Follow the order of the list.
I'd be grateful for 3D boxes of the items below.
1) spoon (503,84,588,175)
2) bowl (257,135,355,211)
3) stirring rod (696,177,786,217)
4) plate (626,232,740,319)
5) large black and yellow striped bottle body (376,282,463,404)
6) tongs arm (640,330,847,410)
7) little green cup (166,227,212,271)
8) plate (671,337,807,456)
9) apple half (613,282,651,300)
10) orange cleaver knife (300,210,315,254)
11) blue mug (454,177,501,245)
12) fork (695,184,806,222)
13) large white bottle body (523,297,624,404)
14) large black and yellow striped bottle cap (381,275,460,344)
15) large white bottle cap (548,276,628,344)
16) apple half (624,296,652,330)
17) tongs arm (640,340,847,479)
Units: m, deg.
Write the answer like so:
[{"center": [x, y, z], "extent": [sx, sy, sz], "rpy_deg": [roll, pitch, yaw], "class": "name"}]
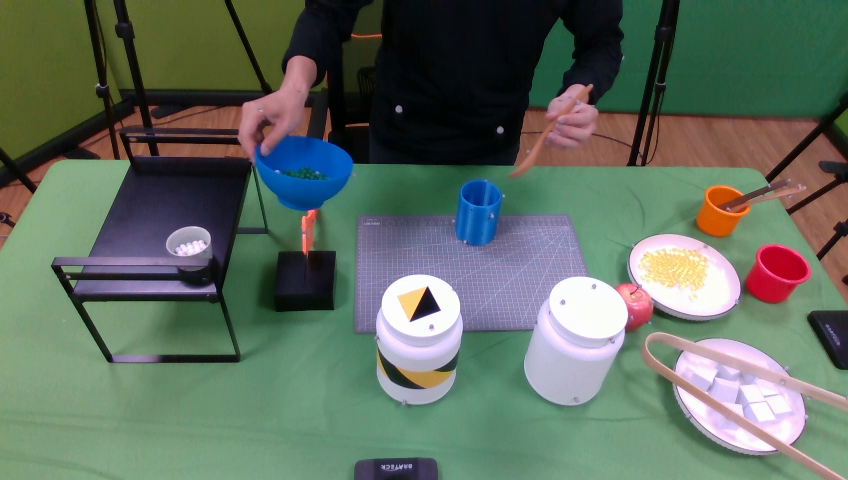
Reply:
[{"center": [0.190, -0.170, 0.956], "extent": [0.021, 0.194, 0.041], "rpy_deg": [46, 32, 16], "class": "spoon"}, {"center": [-0.190, -0.098, 0.960], "extent": [0.151, 0.077, 0.150], "rpy_deg": [10, 33, -7], "class": "bowl"}, {"center": [0.648, -0.087, 1.244], "extent": [0.176, 0.006, 0.014], "rpy_deg": [-25, 50, 29], "class": "stirring rod"}, {"center": [0.488, 0.071, 1.157], "extent": [0.209, 0.038, 0.208], "rpy_deg": [3, 46, -3], "class": "plate"}, {"center": [-0.010, 0.155, 0.937], "extent": [0.131, 0.185, 0.130], "rpy_deg": [2, 47, -2], "class": "large black and yellow striped bottle body"}, {"center": [0.543, 0.225, 0.969], "extent": [0.384, 0.026, 0.050], "rpy_deg": [22, 52, 13], "class": "tongs arm"}, {"center": [-0.344, 0.014, 0.895], "extent": [0.061, 0.039, 0.061], "rpy_deg": [3, 46, -3], "class": "little green cup"}, {"center": [0.504, 0.254, 0.984], "extent": [0.208, 0.039, 0.206], "rpy_deg": [2, 46, -2], "class": "plate"}, {"center": [0.356, 0.109, 1.086], "extent": [0.081, 0.075, 0.053], "rpy_deg": [-14, 44, -12], "class": "apple half"}, {"center": [-0.221, -0.027, 1.161], "extent": [0.012, 0.077, 0.210], "rpy_deg": [-1, 15, -4], "class": "orange cleaver knife"}, {"center": [0.106, -0.067, 1.208], "extent": [0.082, 0.106, 0.116], "rpy_deg": [6, 46, 1], "class": "blue mug"}, {"center": [0.658, -0.074, 1.229], "extent": [0.207, 0.019, 0.028], "rpy_deg": [-24, 34, 36], "class": "fork"}, {"center": [0.235, 0.159, 0.952], "extent": [0.131, 0.185, 0.130], "rpy_deg": [2, 47, -2], "class": "large white bottle body"}, {"center": [-0.005, 0.098, 0.875], "extent": [0.115, 0.019, 0.114], "rpy_deg": [2, 45, -2], "class": "large black and yellow striped bottle cap"}, {"center": [0.240, 0.100, 0.890], "extent": [0.115, 0.018, 0.114], "rpy_deg": [3, 47, -3], "class": "large white bottle cap"}, {"center": [0.368, 0.135, 1.060], "extent": [0.081, 0.081, 0.032], "rpy_deg": [-11, 43, -15], "class": "apple half"}, {"center": [0.500, 0.277, 0.919], "extent": [0.386, 0.028, 0.028], "rpy_deg": [34, 59, 22], "class": "tongs arm"}]
